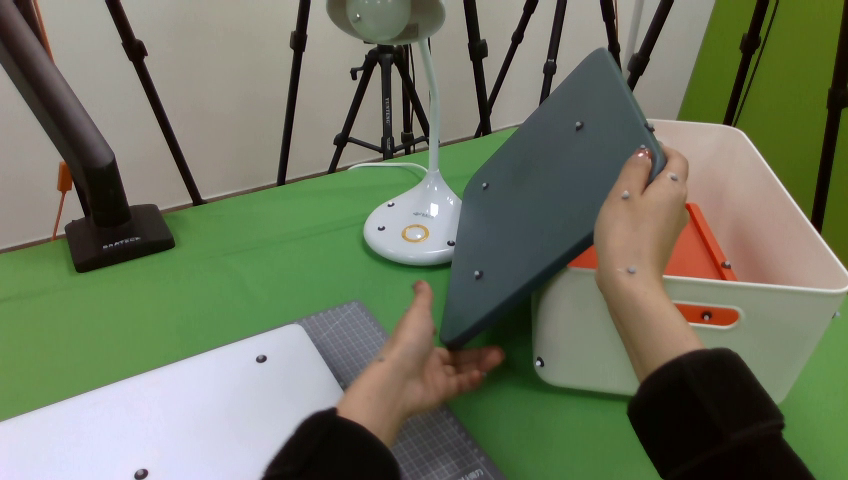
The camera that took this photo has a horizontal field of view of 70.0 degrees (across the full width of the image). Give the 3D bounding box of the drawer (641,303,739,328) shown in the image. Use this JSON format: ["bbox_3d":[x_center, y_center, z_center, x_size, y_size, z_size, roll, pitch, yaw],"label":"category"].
[{"bbox_3d":[0.230,0.042,0.695,0.194,0.074,0.210,4,30,3],"label":"drawer"}]

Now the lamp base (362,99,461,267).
[{"bbox_3d":[-0.002,-0.084,0.799,0.160,0.181,0.178,5,31,6],"label":"lamp base"}]

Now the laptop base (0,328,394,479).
[{"bbox_3d":[-0.227,0.201,0.494,0.355,0.023,0.233,-17,41,-27],"label":"laptop base"}]

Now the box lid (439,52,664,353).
[{"bbox_3d":[0.119,-0.059,0.655,0.015,0.263,0.368,37,29,-14],"label":"box lid"}]

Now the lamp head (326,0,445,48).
[{"bbox_3d":[-0.033,-0.260,0.576,0.112,0.113,0.122,2,73,2],"label":"lamp head"}]

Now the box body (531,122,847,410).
[{"bbox_3d":[0.251,0.005,0.687,0.254,0.161,0.361,5,33,6],"label":"box body"}]

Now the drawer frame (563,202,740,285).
[{"bbox_3d":[0.232,0.037,0.696,0.201,0.083,0.212,4,30,4],"label":"drawer frame"}]

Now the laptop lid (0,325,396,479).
[{"bbox_3d":[-0.225,0.192,0.486,0.358,0.013,0.239,-16,39,-25],"label":"laptop lid"}]
